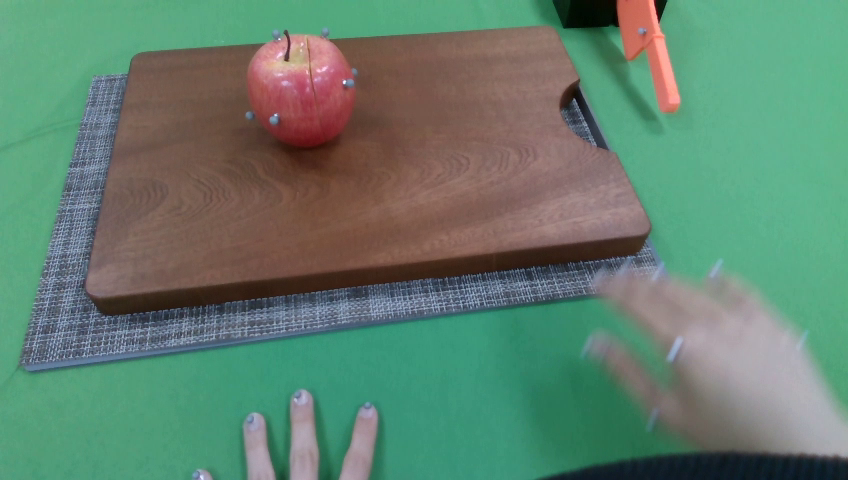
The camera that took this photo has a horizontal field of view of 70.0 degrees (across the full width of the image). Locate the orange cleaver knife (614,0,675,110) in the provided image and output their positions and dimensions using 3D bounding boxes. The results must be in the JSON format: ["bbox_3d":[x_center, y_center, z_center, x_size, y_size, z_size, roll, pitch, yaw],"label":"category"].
[{"bbox_3d":[0.208,-0.215,0.589,0.012,0.077,0.210,-3,76,-8],"label":"orange cleaver knife"}]

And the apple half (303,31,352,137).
[{"bbox_3d":[-0.072,-0.122,0.474,0.033,0.082,0.080,-9,54,-5],"label":"apple half"}]

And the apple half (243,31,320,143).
[{"bbox_3d":[-0.111,-0.116,0.469,0.053,0.075,0.080,-9,58,-5],"label":"apple half"}]
